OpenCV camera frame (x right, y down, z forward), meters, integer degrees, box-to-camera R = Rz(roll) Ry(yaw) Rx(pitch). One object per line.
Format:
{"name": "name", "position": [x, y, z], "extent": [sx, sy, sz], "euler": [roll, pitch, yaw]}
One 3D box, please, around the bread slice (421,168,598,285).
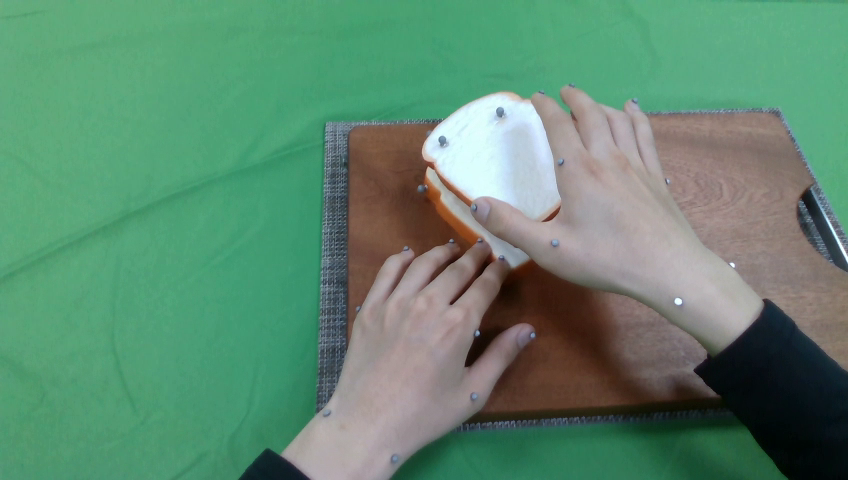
{"name": "bread slice", "position": [0.061, -0.035, 0.495], "extent": [0.105, 0.019, 0.130], "euler": [-34, 64, -23]}

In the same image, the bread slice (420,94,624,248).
{"name": "bread slice", "position": [0.062, -0.060, 0.458], "extent": [0.107, 0.018, 0.133], "euler": [-41, 54, -16]}
